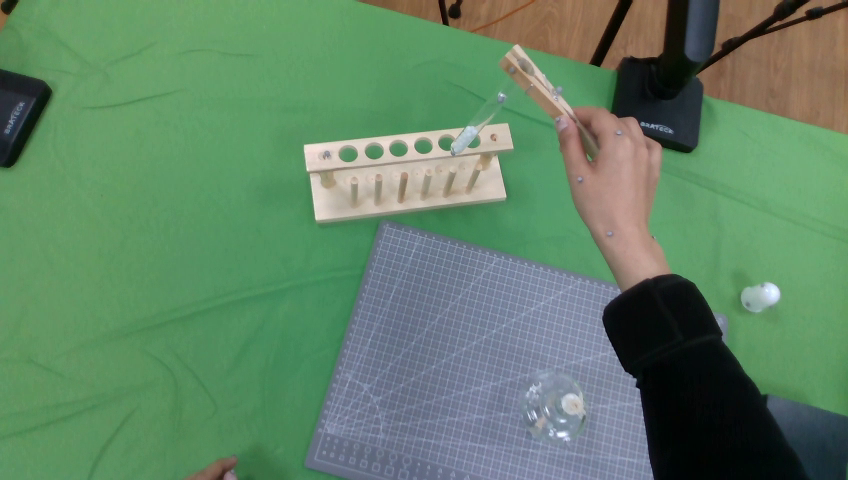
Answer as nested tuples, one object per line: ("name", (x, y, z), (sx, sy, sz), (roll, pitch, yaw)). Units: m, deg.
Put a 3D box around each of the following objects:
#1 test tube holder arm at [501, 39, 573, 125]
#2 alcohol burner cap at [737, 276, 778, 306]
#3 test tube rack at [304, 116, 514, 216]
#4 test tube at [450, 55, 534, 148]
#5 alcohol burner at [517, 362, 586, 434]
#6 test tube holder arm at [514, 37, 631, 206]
("test tube holder arm", (0.101, -0.140, 0.541), (0.088, 0.015, 0.010), (48, 38, -7))
("alcohol burner cap", (0.418, 0.061, 0.753), (0.034, 0.048, 0.033), (2, 71, -5))
("test tube rack", (-0.016, -0.088, 0.735), (0.243, 0.085, 0.066), (-7, 73, -8))
("test tube", (0.063, -0.133, 0.603), (0.017, 0.150, 0.017), (10, 65, -21))
("alcohol burner", (0.142, 0.169, 0.653), (0.078, 0.119, 0.077), (2, 74, -5))
("test tube holder arm", (0.131, -0.107, 0.546), (0.178, 0.015, 0.013), (55, 39, 2))
